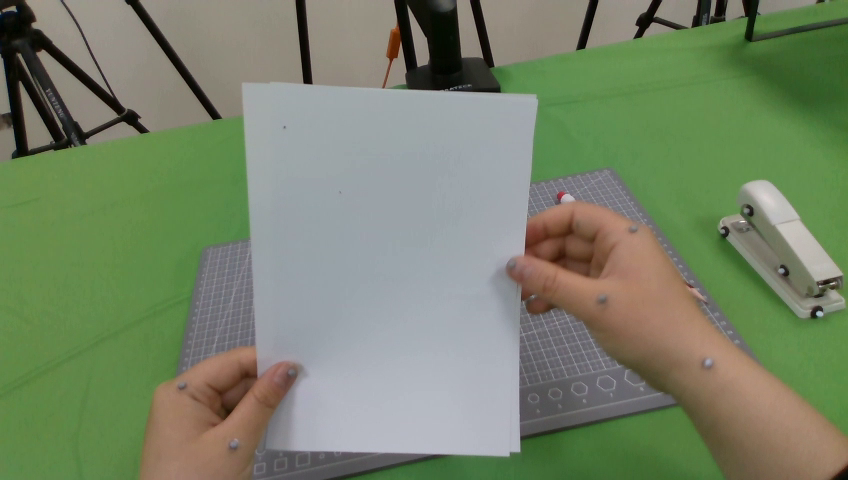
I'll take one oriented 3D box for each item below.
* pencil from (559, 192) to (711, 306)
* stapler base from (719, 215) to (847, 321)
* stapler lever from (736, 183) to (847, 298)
[{"bbox_3d":[0.188,0.004,0.559,0.012,0.012,0.192,-24,42,-17],"label":"pencil"},{"bbox_3d":[0.306,0.013,0.520,0.041,0.025,0.129,-15,41,-2],"label":"stapler base"},{"bbox_3d":[0.303,-0.004,0.504,0.027,0.040,0.116,-15,40,-2],"label":"stapler lever"}]
